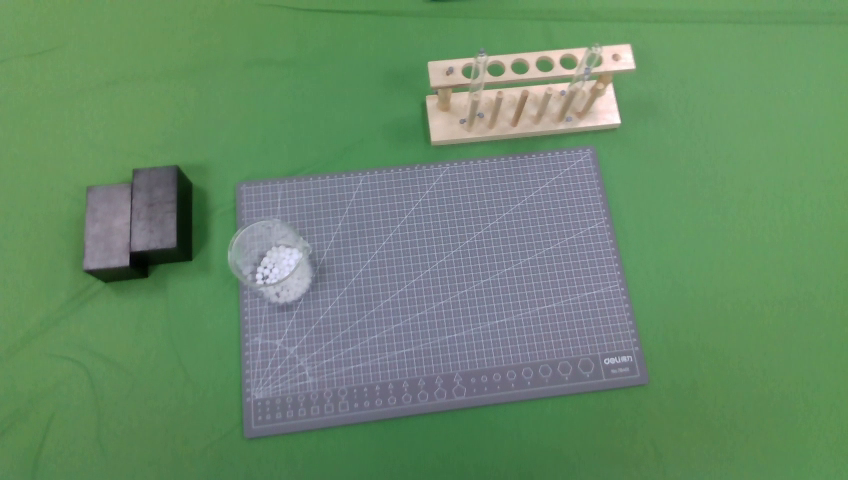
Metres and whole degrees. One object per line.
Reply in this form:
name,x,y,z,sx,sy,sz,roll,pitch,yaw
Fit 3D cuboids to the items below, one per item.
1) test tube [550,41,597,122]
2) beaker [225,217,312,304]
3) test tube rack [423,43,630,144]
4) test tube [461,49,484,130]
test tube,0.171,-0.180,0.701,0.017,0.151,0.017,1,71,-3
beaker,-0.161,0.026,0.661,0.084,0.101,0.073,-7,73,-4
test tube rack,0.123,-0.178,0.746,0.242,0.085,0.066,-6,72,-4
test tube,0.055,-0.168,0.693,0.017,0.151,0.017,0,71,0
